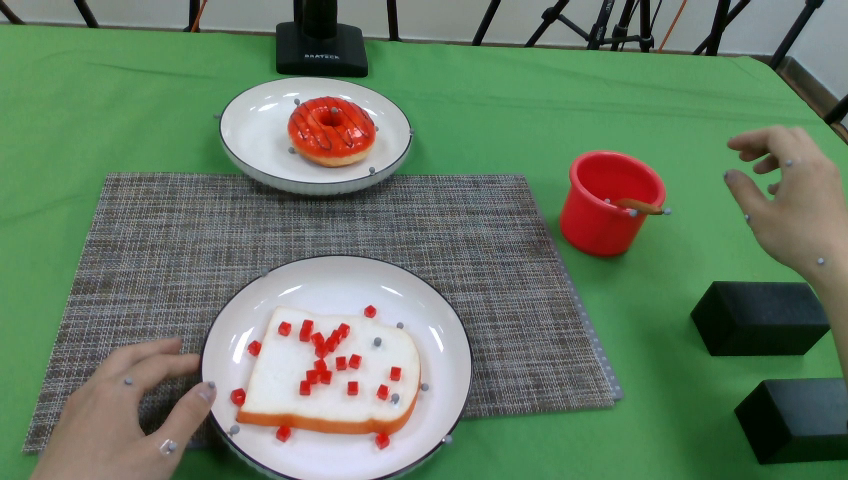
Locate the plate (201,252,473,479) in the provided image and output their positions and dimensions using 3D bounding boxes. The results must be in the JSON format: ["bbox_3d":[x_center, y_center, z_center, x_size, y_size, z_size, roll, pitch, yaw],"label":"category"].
[{"bbox_3d":[-0.066,0.097,0.481,0.209,0.038,0.207,5,46,-5],"label":"plate"}]

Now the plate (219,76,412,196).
[{"bbox_3d":[-0.119,-0.114,0.679,0.208,0.039,0.205,6,44,-5],"label":"plate"}]

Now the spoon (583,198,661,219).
[{"bbox_3d":[0.191,-0.032,0.589,0.041,0.021,0.193,14,1,2],"label":"spoon"}]

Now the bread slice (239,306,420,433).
[{"bbox_3d":[-0.068,0.101,0.481,0.131,0.019,0.104,7,46,-2],"label":"bread slice"}]

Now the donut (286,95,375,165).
[{"bbox_3d":[-0.103,-0.122,0.673,0.099,0.048,0.098,6,46,-6],"label":"donut"}]
